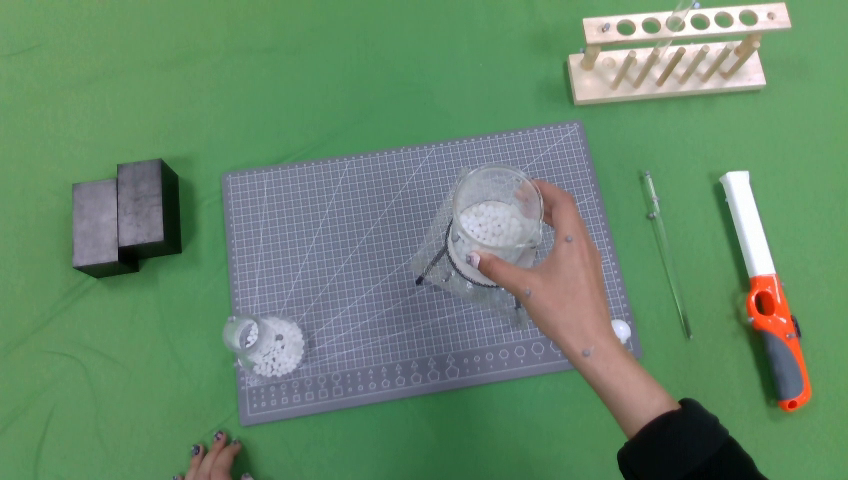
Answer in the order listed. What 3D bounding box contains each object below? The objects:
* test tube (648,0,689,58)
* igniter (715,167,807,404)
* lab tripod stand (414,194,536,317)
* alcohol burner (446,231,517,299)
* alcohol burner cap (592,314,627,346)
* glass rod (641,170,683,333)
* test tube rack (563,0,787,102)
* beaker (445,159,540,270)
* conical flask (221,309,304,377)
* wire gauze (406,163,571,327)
[{"bbox_3d":[0.285,-0.256,0.697,0.017,0.151,0.017,-1,74,3],"label":"test tube"},{"bbox_3d":[0.385,0.046,0.695,0.057,0.025,0.275,-4,74,-13],"label":"igniter"},{"bbox_3d":[0.060,0.017,0.643,0.148,0.132,0.147,0,76,1],"label":"lab tripod stand"},{"bbox_3d":[0.062,0.023,0.652,0.078,0.119,0.077,0,75,2],"label":"alcohol burner"},{"bbox_3d":[0.207,0.097,0.669,0.034,0.048,0.033,0,73,0],"label":"alcohol burner cap"},{"bbox_3d":[0.280,0.011,0.714,0.008,0.008,0.198,-7,77,-3],"label":"glass rod"},{"bbox_3d":[0.303,-0.230,0.741,0.242,0.085,0.066,-5,74,-2],"label":"test tube rack"},{"bbox_3d":[0.059,-0.015,0.533,0.083,0.101,0.074,40,78,10],"label":"beaker"},{"bbox_3d":[-0.171,0.100,0.624,0.075,0.122,0.075,0,74,0],"label":"conical flask"},{"bbox_3d":[0.062,0.001,0.579,0.125,0.011,0.121,27,78,6],"label":"wire gauze"}]
